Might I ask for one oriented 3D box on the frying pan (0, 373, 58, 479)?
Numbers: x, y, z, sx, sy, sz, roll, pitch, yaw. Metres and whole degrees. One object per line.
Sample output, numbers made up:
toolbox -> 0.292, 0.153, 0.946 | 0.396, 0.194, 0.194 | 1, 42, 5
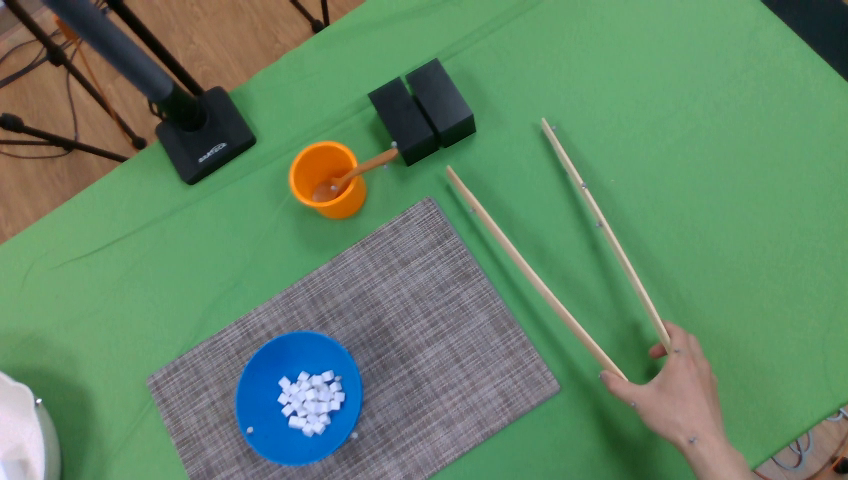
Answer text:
frying pan -> -0.527, 0.367, 0.725 | 0.306, 0.103, 0.483 | -46, 65, -4

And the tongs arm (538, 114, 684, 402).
tongs arm -> 0.206, 0.005, 0.725 | 0.051, 0.027, 0.381 | -22, 65, -6

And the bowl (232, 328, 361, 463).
bowl -> -0.140, 0.186, 0.725 | 0.151, 0.077, 0.150 | -2, 74, 8

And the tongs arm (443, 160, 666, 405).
tongs arm -> 0.136, 0.039, 0.718 | 0.028, 0.028, 0.384 | -32, 66, -14

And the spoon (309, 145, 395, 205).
spoon -> -0.095, -0.082, 0.760 | 0.022, 0.193, 0.041 | 16, 69, -31
